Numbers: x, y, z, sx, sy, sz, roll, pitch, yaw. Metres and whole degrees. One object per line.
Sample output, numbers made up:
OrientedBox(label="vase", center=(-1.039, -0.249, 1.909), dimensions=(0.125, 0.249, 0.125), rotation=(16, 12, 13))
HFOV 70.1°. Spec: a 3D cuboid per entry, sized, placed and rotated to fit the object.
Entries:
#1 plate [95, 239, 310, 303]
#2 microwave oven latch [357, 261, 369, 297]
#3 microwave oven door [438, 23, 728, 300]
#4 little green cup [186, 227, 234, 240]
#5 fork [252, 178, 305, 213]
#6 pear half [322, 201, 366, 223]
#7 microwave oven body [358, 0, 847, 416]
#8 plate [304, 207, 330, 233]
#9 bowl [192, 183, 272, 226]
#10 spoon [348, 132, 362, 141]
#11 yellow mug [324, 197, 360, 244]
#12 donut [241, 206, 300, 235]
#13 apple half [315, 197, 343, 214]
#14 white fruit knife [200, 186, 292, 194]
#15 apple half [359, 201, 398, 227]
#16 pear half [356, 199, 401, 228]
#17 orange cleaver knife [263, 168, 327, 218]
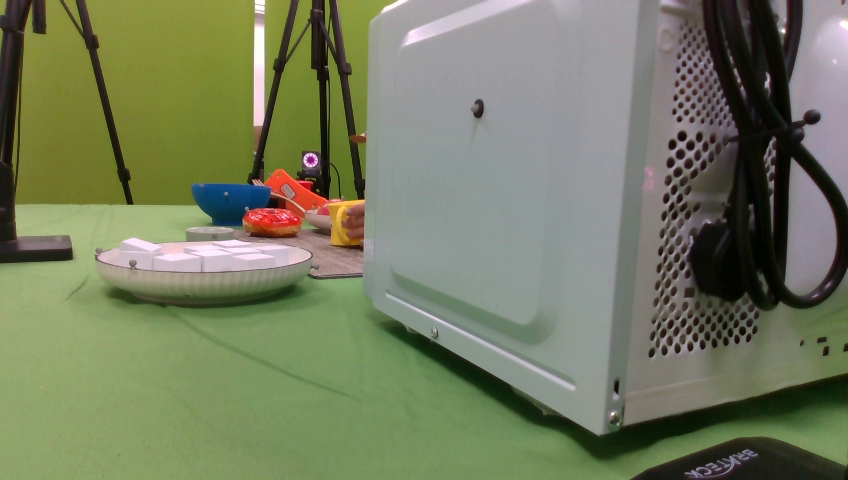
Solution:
OrientedBox(label="plate", center=(-0.224, 0.031, 0.629), dimensions=(0.208, 0.039, 0.207), rotation=(2, 8, 0))
OrientedBox(label="microwave oven latch", center=(-0.019, 0.033, 0.531), dimensions=(0.079, 0.029, 0.030), rotation=(-1, 7, -27))
OrientedBox(label="microwave oven door", center=(0.181, -0.073, 0.621), dimensions=(0.358, 0.243, 0.039), rotation=(-2, 8, -29))
OrientedBox(label="little green cup", center=(-0.285, 0.005, 0.805), dimensions=(0.061, 0.038, 0.061), rotation=(2, 8, 0))
OrientedBox(label="fork", center=(-0.295, -0.084, 1.292), dimensions=(0.206, 0.018, 0.028), rotation=(29, 11, 25))
OrientedBox(label="pear half", center=(-0.157, -0.059, 1.197), dimensions=(0.088, 0.031, 0.070), rotation=(12, 30, -4))
OrientedBox(label="microwave oven body", center=(0.211, -0.047, 0.474), dimensions=(0.444, 0.260, 0.324), rotation=(-1, 7, -28))
OrientedBox(label="plate", center=(-0.123, -0.037, 1.149), dimensions=(0.209, 0.038, 0.209), rotation=(2, 7, 0))
OrientedBox(label="bowl", center=(-0.381, -0.071, 1.202), dimensions=(0.151, 0.077, 0.151), rotation=(3, 7, 0))
OrientedBox(label="spoon", center=(-0.119, -0.235, 1.305), dimensions=(0.041, 0.021, 0.194), rotation=(-1, 19, 13))
OrientedBox(label="yellow mug", center=(-0.110, -0.031, 0.953), dimensions=(0.100, 0.064, 0.131), rotation=(-4, 8, 18))
OrientedBox(label="donut", center=(-0.263, -0.032, 1.039), dimensions=(0.099, 0.048, 0.099), rotation=(4, 10, 0))
OrientedBox(label="apple half", center=(-0.162, -0.052, 1.121), dimensions=(0.081, 0.053, 0.074), rotation=(4, 7, -14))
OrientedBox(label="white fruit knife", center=(-0.399, -0.111, 1.368), dimensions=(0.208, 0.016, 0.027), rotation=(-4, -19, -30))
OrientedBox(label="apple half", center=(-0.088, -0.058, 1.190), dimensions=(0.081, 0.033, 0.081), rotation=(9, 29, -5))
OrientedBox(label="pear half", center=(-0.075, -0.046, 1.132), dimensions=(0.076, 0.056, 0.110), rotation=(13, 4, 31))
OrientedBox(label="orange cleaver knife", center=(-0.262, -0.088, 1.353), dimensions=(0.211, 0.077, 0.012), rotation=(28, 13, -1))
